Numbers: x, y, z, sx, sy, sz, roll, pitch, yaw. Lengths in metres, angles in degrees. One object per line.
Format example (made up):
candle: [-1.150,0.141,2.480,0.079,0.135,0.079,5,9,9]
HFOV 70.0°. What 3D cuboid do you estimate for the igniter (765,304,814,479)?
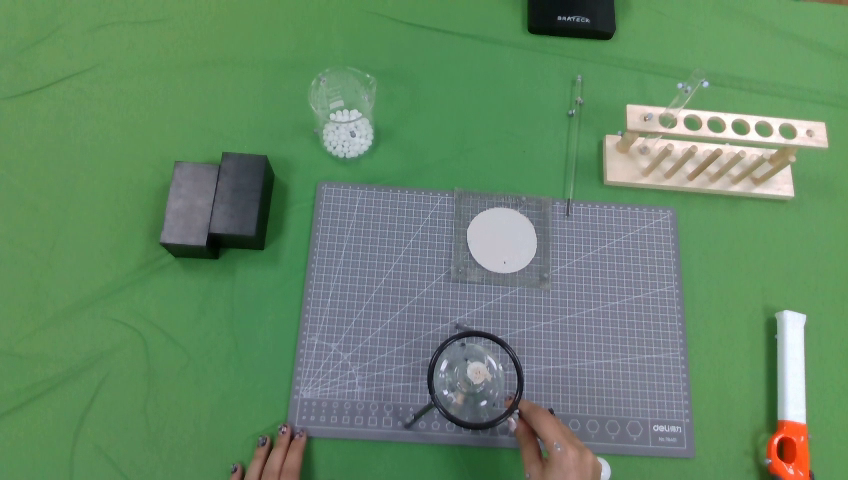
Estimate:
igniter: [0.409,0.208,0.680,0.057,0.025,0.275,14,72,-10]

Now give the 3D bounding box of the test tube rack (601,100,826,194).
test tube rack: [0.353,-0.112,0.749,0.242,0.085,0.066,4,71,-2]

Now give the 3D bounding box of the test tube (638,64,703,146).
test tube: [0.283,-0.152,0.706,0.017,0.151,0.017,1,68,-2]

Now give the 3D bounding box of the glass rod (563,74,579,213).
glass rod: [0.191,-0.128,0.783,0.008,0.008,0.198,9,73,-1]

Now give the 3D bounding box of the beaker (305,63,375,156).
beaker: [-0.095,-0.153,0.725,0.084,0.101,0.073,-34,77,-14]

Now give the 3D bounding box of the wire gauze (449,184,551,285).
wire gauze: [0.093,-0.010,0.737,0.125,0.011,0.120,5,71,-1]

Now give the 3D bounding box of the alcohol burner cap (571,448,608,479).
alcohol burner cap: [0.180,0.239,0.647,0.034,0.048,0.033,1,71,-2]

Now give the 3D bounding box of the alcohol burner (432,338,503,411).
alcohol burner: [0.047,0.137,0.630,0.078,0.119,0.077,2,70,-5]

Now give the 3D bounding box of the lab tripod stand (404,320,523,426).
lab tripod stand: [0.042,0.141,0.618,0.148,0.132,0.147,1,71,-1]
